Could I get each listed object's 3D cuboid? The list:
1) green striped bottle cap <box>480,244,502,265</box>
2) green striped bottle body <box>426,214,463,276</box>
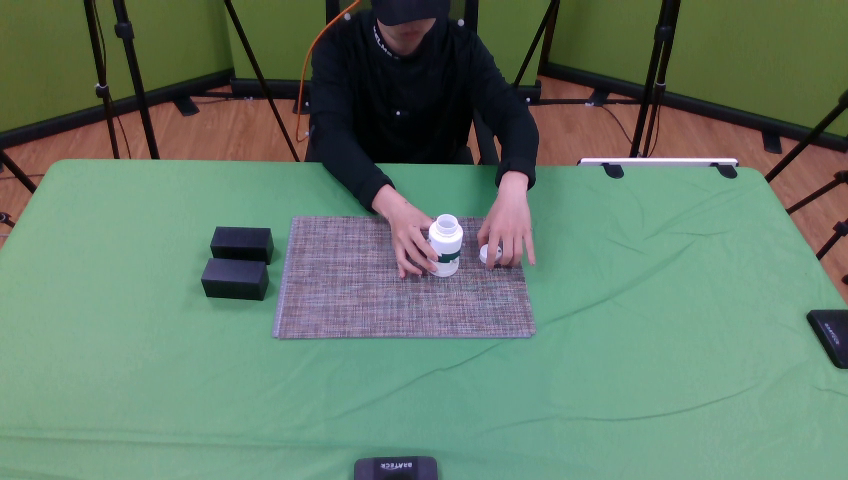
[{"bbox_3d":[0.130,0.028,1.181,0.044,0.020,0.044,-4,46,5],"label":"green striped bottle cap"},{"bbox_3d":[0.038,0.007,1.121,0.063,0.120,0.063,2,47,-2],"label":"green striped bottle body"}]
